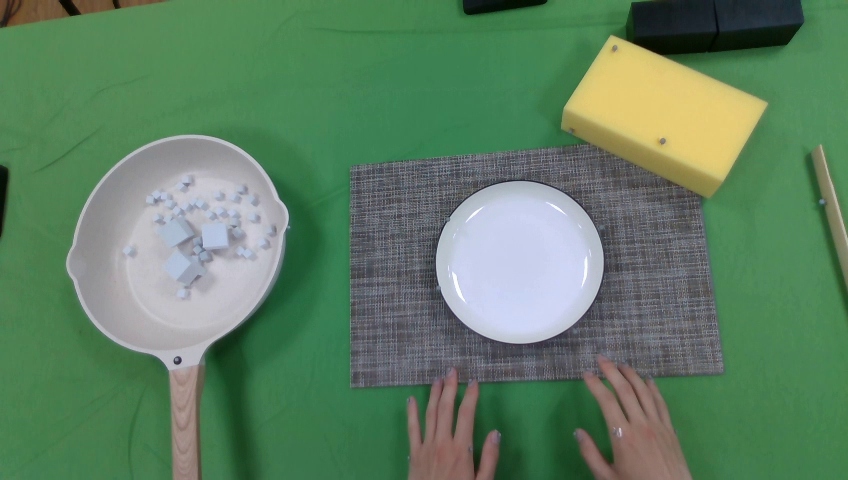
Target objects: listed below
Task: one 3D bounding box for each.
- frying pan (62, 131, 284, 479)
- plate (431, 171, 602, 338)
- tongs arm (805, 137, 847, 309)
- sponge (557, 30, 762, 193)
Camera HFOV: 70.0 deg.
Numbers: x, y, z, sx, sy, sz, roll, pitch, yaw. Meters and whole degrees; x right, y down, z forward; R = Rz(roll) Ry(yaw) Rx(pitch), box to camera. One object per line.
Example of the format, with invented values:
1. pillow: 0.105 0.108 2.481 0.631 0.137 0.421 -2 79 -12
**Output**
1. frying pan: -0.307 0.096 0.769 0.306 0.103 0.484 -12 67 7
2. plate: 0.113 0.018 0.754 0.207 0.039 0.206 -2 77 8
3. tongs arm: 0.502 0.062 0.697 0.028 0.028 0.385 -10 77 5
4. sponge: 0.287 -0.162 0.759 0.206 0.061 0.118 29 81 15
